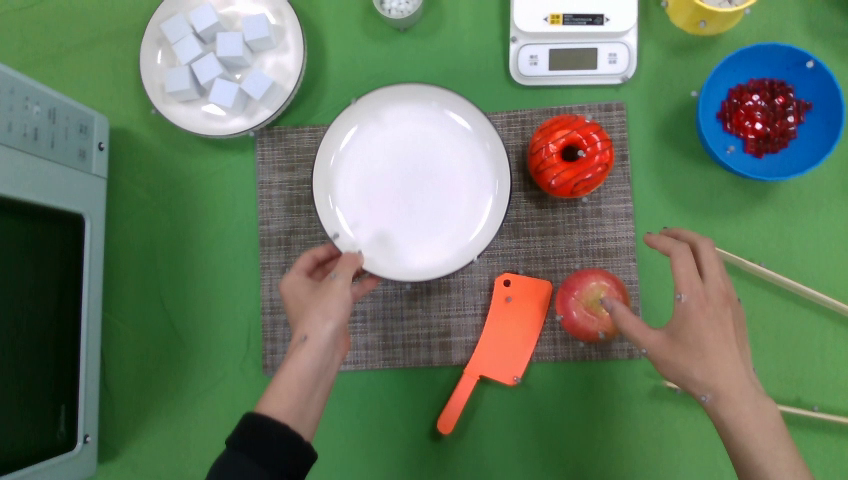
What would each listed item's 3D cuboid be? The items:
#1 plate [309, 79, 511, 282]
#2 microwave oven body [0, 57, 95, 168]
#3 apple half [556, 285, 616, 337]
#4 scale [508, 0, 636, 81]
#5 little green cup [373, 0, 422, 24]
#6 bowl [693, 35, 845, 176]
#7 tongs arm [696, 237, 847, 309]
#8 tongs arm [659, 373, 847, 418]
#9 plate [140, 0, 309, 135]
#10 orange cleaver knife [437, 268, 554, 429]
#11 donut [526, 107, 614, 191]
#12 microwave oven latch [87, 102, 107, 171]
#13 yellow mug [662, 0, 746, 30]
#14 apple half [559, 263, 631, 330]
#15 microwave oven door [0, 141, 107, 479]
[{"bbox_3d":[-0.014,-0.061,0.635,0.209,0.038,0.209,0,90,4],"label":"plate"},{"bbox_3d":[-0.560,0.045,0.639,0.326,0.261,0.440,-1,86,4],"label":"microwave oven body"},{"bbox_3d":[0.171,0.085,0.668,0.081,0.081,0.033,39,86,7],"label":"apple half"},{"bbox_3d":[0.177,-0.292,0.722,0.148,0.031,0.200,1,86,5],"label":"scale"},{"bbox_3d":[-0.031,-0.296,0.736,0.061,0.039,0.061,0,85,5],"label":"little green cup"},{"bbox_3d":[0.366,-0.139,0.672,0.151,0.077,0.151,0,86,5],"label":"bowl"},{"bbox_3d":[0.484,0.088,0.669,0.387,0.028,0.028,27,81,7],"label":"tongs arm"},{"bbox_3d":[0.457,0.170,0.662,0.384,0.026,0.050,12,82,6],"label":"tongs arm"},{"bbox_3d":[-0.242,-0.229,0.749,0.207,0.039,0.207,0,86,5],"label":"plate"},{"bbox_3d":[0.083,0.128,0.700,0.077,0.012,0.211,26,86,0],"label":"orange cleaver knife"},{"bbox_3d":[0.167,-0.105,0.699,0.099,0.048,0.099,0,87,7],"label":"donut"},{"bbox_3d":[-0.405,-0.125,0.735,0.030,0.029,0.079,2,86,4],"label":"microwave oven latch"},{"bbox_3d":[0.322,-0.314,0.694,0.100,0.064,0.130,-36,83,2],"label":"yellow mug"},{"bbox_3d":[0.195,0.055,0.671,0.080,0.075,0.053,39,86,10],"label":"apple half"},{"bbox_3d":[-0.415,0.085,0.619,0.039,0.244,0.355,-1,85,5],"label":"microwave oven door"}]
